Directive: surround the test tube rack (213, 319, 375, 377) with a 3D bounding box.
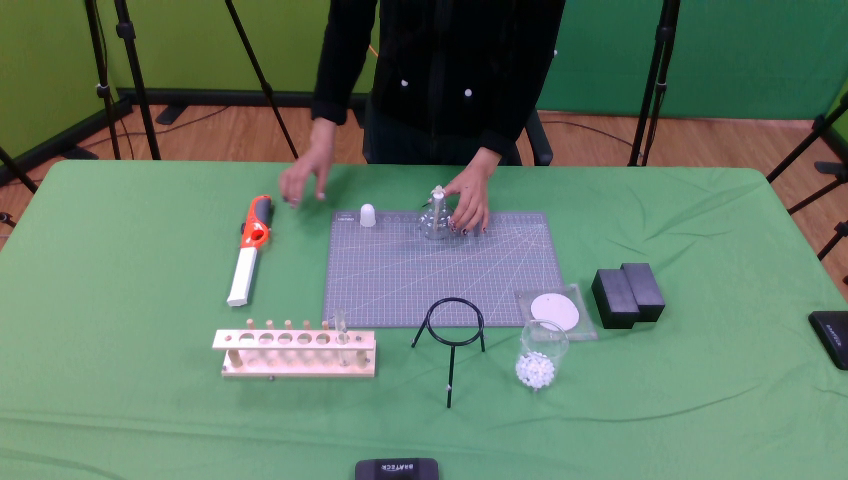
[{"bbox_3d":[-0.202,0.170,0.977,0.242,0.085,0.066,1,46,-3],"label":"test tube rack"}]

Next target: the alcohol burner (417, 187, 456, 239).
[{"bbox_3d":[0.026,-0.059,1.190,0.078,0.120,0.077,1,48,-1],"label":"alcohol burner"}]

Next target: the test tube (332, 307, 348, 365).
[{"bbox_3d":[-0.128,0.151,0.931,0.017,0.151,0.017,1,50,-1],"label":"test tube"}]

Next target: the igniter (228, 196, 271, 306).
[{"bbox_3d":[-0.332,0.011,1.160,0.057,0.025,0.274,-7,46,5],"label":"igniter"}]

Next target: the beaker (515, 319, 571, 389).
[{"bbox_3d":[0.186,0.186,0.980,0.074,0.101,0.083,-23,51,-24],"label":"beaker"}]

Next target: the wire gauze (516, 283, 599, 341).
[{"bbox_3d":[0.240,0.131,1.094,0.125,0.011,0.120,-3,48,-8],"label":"wire gauze"}]

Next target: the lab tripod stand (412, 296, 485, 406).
[{"bbox_3d":[0.045,0.168,0.963,0.148,0.132,0.147,3,47,-3],"label":"lab tripod stand"}]

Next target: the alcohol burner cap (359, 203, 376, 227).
[{"bbox_3d":[-0.115,-0.054,1.223,0.034,0.048,0.033,2,47,-2],"label":"alcohol burner cap"}]
